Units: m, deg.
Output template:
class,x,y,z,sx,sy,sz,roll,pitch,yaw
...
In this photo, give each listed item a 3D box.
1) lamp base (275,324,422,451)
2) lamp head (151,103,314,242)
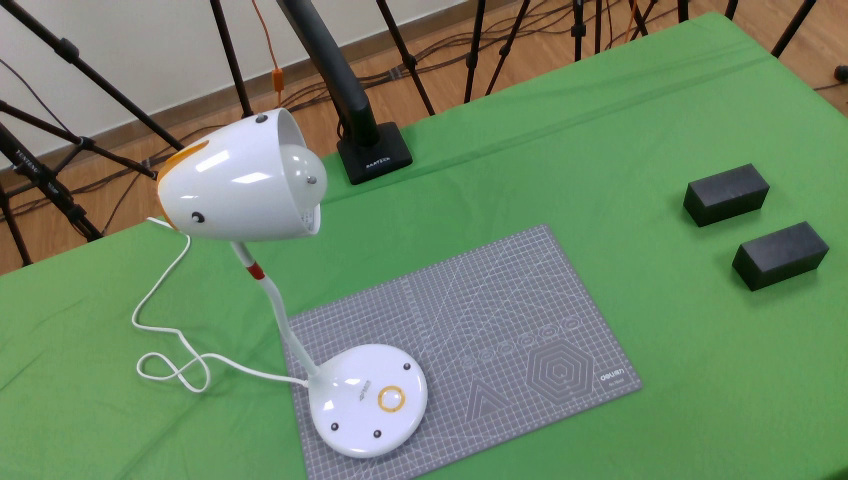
class,x,y,z,sx,sy,sz,roll,pitch,yaw
lamp base,-0.107,0.164,0.768,0.178,0.182,0.159,0,55,15
lamp head,-0.165,-0.047,0.523,0.123,0.113,0.111,-16,53,6
